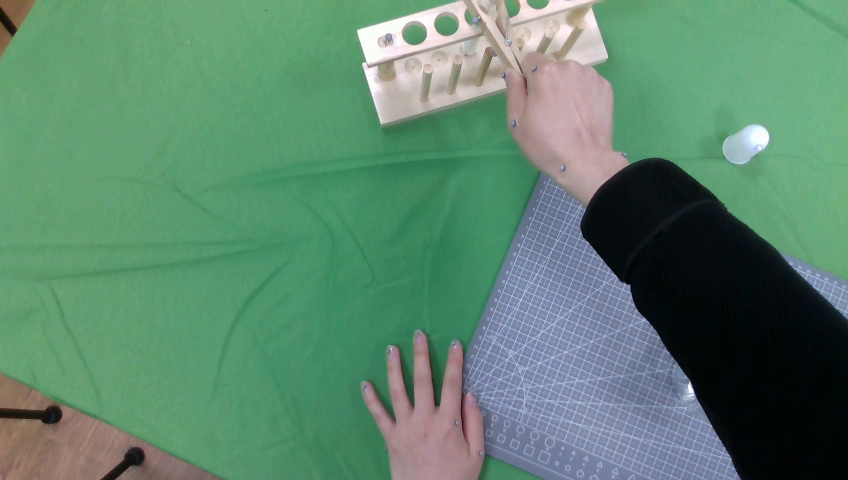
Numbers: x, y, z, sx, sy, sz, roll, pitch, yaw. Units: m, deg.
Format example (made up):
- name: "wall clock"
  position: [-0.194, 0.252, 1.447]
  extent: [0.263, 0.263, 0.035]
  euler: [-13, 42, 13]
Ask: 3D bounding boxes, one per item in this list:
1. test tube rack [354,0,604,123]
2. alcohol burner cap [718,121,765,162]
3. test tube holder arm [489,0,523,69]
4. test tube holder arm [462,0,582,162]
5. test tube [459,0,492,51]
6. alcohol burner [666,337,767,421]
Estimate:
- name: "test tube rack"
  position: [0.061, -0.189, 0.582]
  extent: [0.242, 0.085, 0.066]
  euler: [-17, 85, -4]
- name: "alcohol burner cap"
  position: [0.322, -0.101, 0.609]
  extent: [0.034, 0.048, 0.033]
  euler: [0, 79, -2]
- name: "test tube holder arm"
  position: [0.066, -0.183, 0.519]
  extent: [0.010, 0.015, 0.087]
  euler: [-14, 80, -12]
- name: "test tube holder arm"
  position: [0.080, -0.142, 0.512]
  extent: [0.013, 0.015, 0.178]
  euler: [-29, 83, -13]
- name: "test tube"
  position: [0.049, -0.204, 0.533]
  extent: [0.017, 0.150, 0.017]
  euler: [1, 82, -5]
- name: "alcohol burner"
  position: [0.270, 0.127, 0.549]
  extent: [0.078, 0.119, 0.077]
  euler: [0, 82, -2]
